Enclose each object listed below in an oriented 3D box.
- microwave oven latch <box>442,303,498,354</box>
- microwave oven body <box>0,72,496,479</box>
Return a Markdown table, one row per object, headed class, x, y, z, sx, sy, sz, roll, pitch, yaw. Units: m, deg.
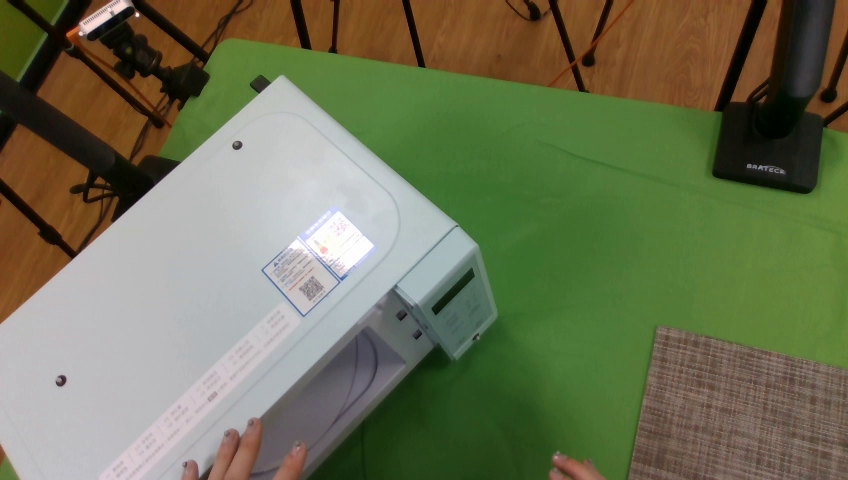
| class | x | y | z | sx | sy | sz | roll | pitch | yaw |
| --- | --- | --- | --- | --- | --- | --- | --- | --- | --- |
| microwave oven latch | 0.055 | 0.101 | 0.735 | 0.079 | 0.030 | 0.030 | -43 | 67 | -7 |
| microwave oven body | -0.190 | 0.096 | 0.680 | 0.441 | 0.262 | 0.323 | -45 | 67 | -8 |
